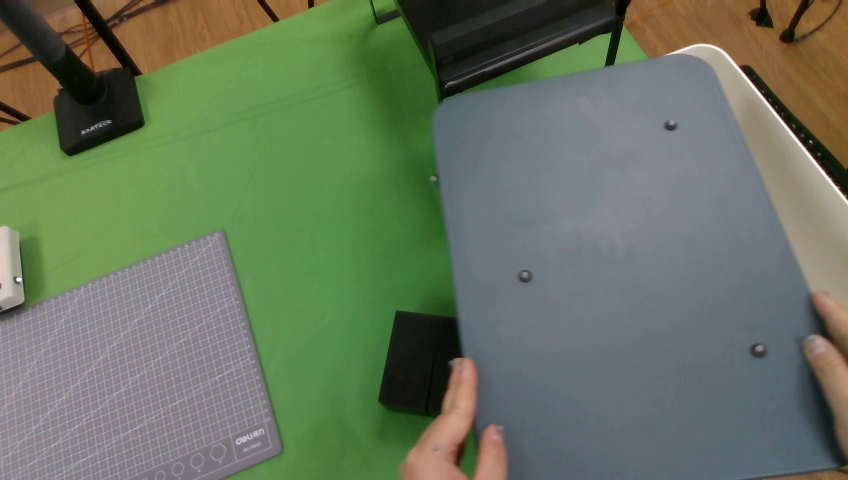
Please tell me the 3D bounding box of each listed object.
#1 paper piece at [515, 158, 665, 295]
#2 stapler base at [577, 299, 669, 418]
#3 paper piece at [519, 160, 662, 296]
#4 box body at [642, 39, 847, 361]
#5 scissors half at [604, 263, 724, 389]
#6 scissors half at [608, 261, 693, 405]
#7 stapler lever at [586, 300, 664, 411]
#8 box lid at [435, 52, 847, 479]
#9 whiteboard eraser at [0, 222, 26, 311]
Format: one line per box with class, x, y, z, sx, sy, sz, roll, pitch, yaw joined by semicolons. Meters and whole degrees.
paper piece;0.192;-0.019;0.711;0.135;0.004;0.135;-18;73;1
stapler base;0.209;0.122;0.643;0.041;0.024;0.129;-29;69;5
paper piece;0.196;-0.016;0.731;0.136;0.009;0.137;-22;65;19
box body;0.257;0.012;0.616;0.254;0.162;0.360;-23;65;-3
scissors half;0.257;0.087;0.659;0.040;0.013;0.173;-32;62;-16
scissors half;0.237;0.095;0.657;0.040;0.013;0.173;-15;59;-1
stapler lever;0.205;0.115;0.620;0.027;0.040;0.117;-29;68;6
box lid;0.154;0.002;0.489;0.263;0.015;0.368;-9;62;4
whiteboard eraser;-0.545;0.036;0.776;0.055;0.042;0.111;-24;65;-2
